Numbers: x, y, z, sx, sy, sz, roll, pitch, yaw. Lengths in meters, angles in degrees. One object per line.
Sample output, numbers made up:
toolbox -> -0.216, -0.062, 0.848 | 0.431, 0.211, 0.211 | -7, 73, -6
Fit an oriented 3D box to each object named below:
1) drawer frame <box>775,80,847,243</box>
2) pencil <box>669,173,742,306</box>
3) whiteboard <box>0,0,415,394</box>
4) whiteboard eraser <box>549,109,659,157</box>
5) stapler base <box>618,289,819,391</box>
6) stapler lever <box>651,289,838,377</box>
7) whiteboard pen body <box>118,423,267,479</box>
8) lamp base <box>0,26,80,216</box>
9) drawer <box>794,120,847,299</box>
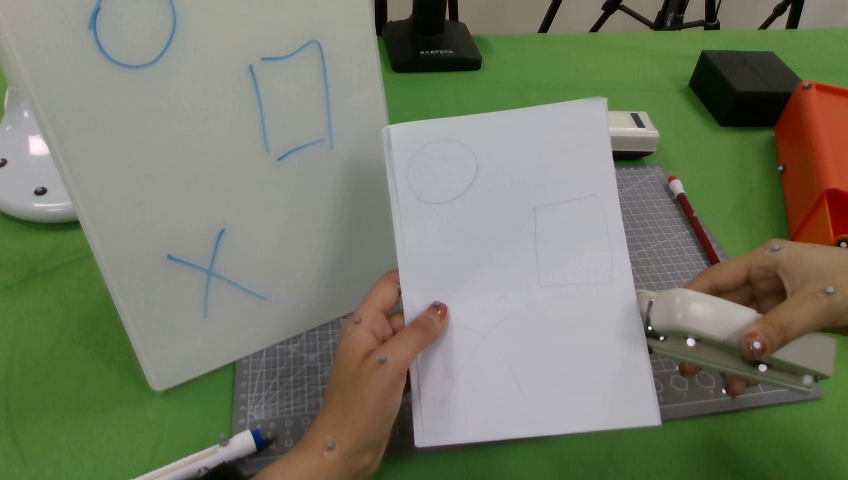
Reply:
drawer frame -> 0.487, -0.064, 0.626 | 0.201, 0.083, 0.212 | 15, 45, 10
pencil -> 0.272, 0.002, 0.585 | 0.012, 0.012, 0.192 | 0, 47, -5
whiteboard -> -0.150, -0.082, 0.459 | 0.217, 0.308, 0.142 | -21, 31, -23
whiteboard eraser -> 0.201, -0.120, 0.682 | 0.113, 0.042, 0.055 | 0, 46, -6
stapler base -> 0.195, 0.063, 0.392 | 0.130, 0.024, 0.041 | 14, 79, 3
stapler lever -> 0.197, 0.056, 0.367 | 0.118, 0.040, 0.026 | 14, 79, 2
whiteboard pen body -> -0.169, 0.150, 0.383 | 0.141, 0.017, 0.017 | -18, 49, -24
lamp base -> -0.344, -0.139, 0.543 | 0.178, 0.182, 0.160 | 25, 48, 21
drawer -> 0.468, -0.021, 0.583 | 0.194, 0.074, 0.210 | 15, 45, 10
